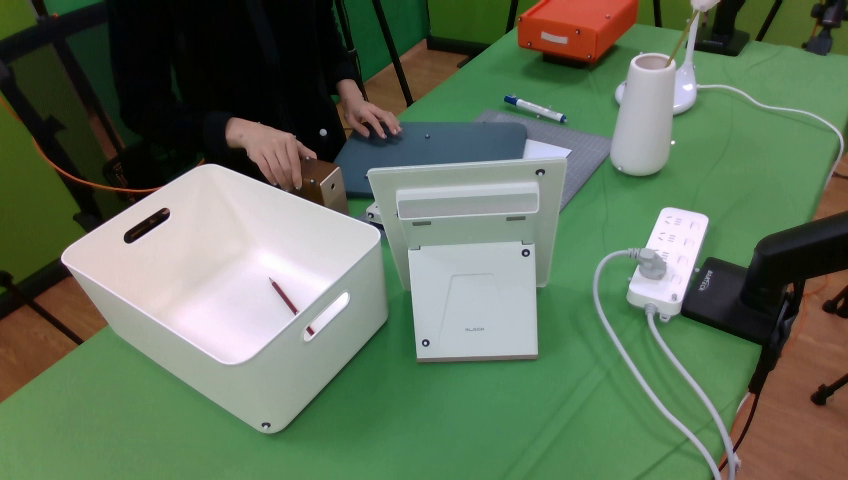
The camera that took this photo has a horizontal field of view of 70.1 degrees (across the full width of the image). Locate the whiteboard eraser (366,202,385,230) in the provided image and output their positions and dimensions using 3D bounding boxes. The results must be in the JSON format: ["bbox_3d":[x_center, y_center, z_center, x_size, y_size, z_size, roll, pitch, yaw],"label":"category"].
[{"bbox_3d":[-0.037,-0.038,1.006,0.112,0.042,0.055,16,47,25],"label":"whiteboard eraser"}]

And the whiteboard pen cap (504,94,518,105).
[{"bbox_3d":[0.190,-0.299,1.292,0.033,0.018,0.018,30,52,28],"label":"whiteboard pen cap"}]

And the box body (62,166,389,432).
[{"bbox_3d":[-0.255,0.065,0.827,0.361,0.161,0.255,21,48,29],"label":"box body"}]

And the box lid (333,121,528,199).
[{"bbox_3d":[0.009,-0.158,1.167,0.370,0.015,0.262,3,41,13],"label":"box lid"}]

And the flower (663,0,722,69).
[{"bbox_3d":[0.379,-0.261,0.965,0.044,0.362,0.038,20,53,5],"label":"flower"}]

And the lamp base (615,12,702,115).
[{"bbox_3d":[0.484,-0.364,1.211,0.180,0.181,0.159,-15,41,-14],"label":"lamp base"}]

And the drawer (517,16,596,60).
[{"bbox_3d":[0.353,-0.506,1.405,0.193,0.073,0.212,23,49,32],"label":"drawer"}]

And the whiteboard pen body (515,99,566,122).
[{"bbox_3d":[0.234,-0.274,1.262,0.139,0.017,0.017,28,51,29],"label":"whiteboard pen body"}]

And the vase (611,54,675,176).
[{"bbox_3d":[0.377,-0.209,1.031,0.098,0.201,0.097,-3,40,3],"label":"vase"}]

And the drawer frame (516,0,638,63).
[{"bbox_3d":[0.355,-0.508,1.410,0.200,0.083,0.214,23,51,32],"label":"drawer frame"}]

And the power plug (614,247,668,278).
[{"bbox_3d":[0.306,0.031,0.851,0.072,0.053,0.035,24,49,33],"label":"power plug"}]

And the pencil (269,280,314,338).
[{"bbox_3d":[-0.188,0.106,0.880,0.012,0.012,0.192,-28,42,-23],"label":"pencil"}]

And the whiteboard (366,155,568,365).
[{"bbox_3d":[0.059,0.050,0.738,0.217,0.307,0.143,-2,60,6],"label":"whiteboard"}]

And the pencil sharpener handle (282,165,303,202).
[{"bbox_3d":[-0.225,-0.096,1.012,0.030,0.068,0.036,17,34,23],"label":"pencil sharpener handle"}]

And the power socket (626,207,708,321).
[{"bbox_3d":[0.359,0.025,0.886,0.072,0.033,0.227,16,46,26],"label":"power socket"}]

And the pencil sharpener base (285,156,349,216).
[{"bbox_3d":[-0.178,-0.075,1.003,0.076,0.107,0.061,17,47,23],"label":"pencil sharpener base"}]
